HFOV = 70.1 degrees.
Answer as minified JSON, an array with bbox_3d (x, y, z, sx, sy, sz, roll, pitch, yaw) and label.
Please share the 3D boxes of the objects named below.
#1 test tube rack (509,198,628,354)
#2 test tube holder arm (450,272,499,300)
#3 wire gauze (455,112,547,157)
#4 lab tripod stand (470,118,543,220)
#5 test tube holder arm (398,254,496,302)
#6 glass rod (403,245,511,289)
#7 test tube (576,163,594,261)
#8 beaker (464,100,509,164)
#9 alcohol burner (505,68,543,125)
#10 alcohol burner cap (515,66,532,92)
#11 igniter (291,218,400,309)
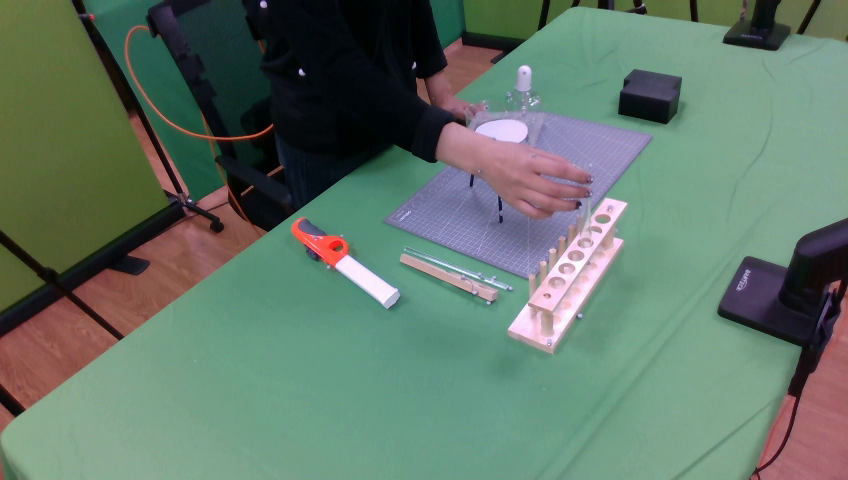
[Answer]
[{"bbox_3d":[0.206,0.039,0.849,0.066,0.085,0.243,20,48,30],"label":"test tube rack"},{"bbox_3d":[0.071,0.068,0.894,0.087,0.015,0.010,21,14,32],"label":"test tube holder arm"},{"bbox_3d":[0.125,-0.176,0.973,0.124,0.011,0.121,10,42,22],"label":"wire gauze"},{"bbox_3d":[0.135,-0.128,1.019,0.148,0.132,0.147,-5,38,5],"label":"lab tripod stand"},{"bbox_3d":[0.032,0.054,0.913,0.177,0.015,0.013,21,14,31],"label":"test tube holder arm"},{"bbox_3d":[0.047,0.040,0.938,0.198,0.008,0.008,21,49,30],"label":"glass rod"},{"bbox_3d":[0.213,-0.033,0.796,0.017,0.151,0.017,-10,33,7],"label":"test tube"},{"bbox_3d":[0.120,-0.200,1.133,0.083,0.101,0.074,5,42,16],"label":"beaker"},{"bbox_3d":[0.201,-0.293,1.216,0.078,0.119,0.077,-4,41,4],"label":"alcohol burner"},{"bbox_3d":[0.198,-0.320,1.192,0.034,0.048,0.033,0,47,1],"label":"alcohol burner cap"},{"bbox_3d":[-0.136,0.031,0.970,0.057,0.025,0.274,-41,49,-19],"label":"igniter"}]
